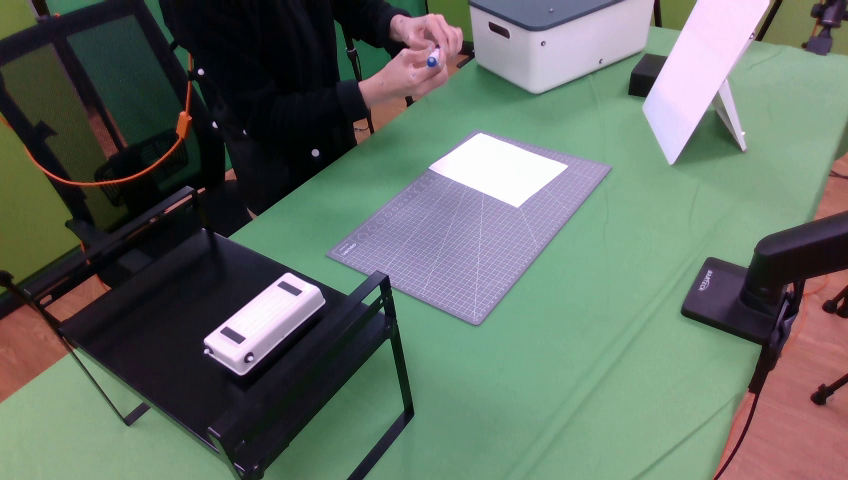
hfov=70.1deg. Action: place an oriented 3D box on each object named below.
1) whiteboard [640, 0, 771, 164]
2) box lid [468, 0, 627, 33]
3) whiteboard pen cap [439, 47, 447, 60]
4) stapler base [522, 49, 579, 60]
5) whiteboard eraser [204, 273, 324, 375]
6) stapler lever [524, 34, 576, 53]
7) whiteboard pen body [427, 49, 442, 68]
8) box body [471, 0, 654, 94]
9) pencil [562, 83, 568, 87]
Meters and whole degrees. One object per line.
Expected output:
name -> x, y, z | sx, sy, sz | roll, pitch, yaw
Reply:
whiteboard -> 0.543, -0.299, 1.076 | 0.144, 0.305, 0.216 | 12, 40, -7
box lid -> 0.312, -0.554, 1.358 | 0.373, 0.015, 0.261 | -26, 44, -20
whiteboard pen cap -> 0.028, -0.313, 1.014 | 0.018, 0.018, 0.033 | 3, 27, 11
stapler base -> 0.300, -0.441, 1.433 | 0.130, 0.024, 0.041 | 3, 22, 18
whiteboard eraser -> -0.157, 0.084, 0.605 | 0.055, 0.042, 0.113 | 24, 49, 30
stapler lever -> 0.297, -0.463, 1.424 | 0.117, 0.040, 0.027 | 5, 22, 17
whiteboard pen body -> 0.018, -0.290, 0.958 | 0.017, 0.017, 0.140 | -2, 23, 7
box body -> 0.319, -0.498, 1.405 | 0.365, 0.161, 0.252 | -26, 43, -21
pencil -> 0.248, -0.393, 1.398 | 0.193, 0.012, 0.012 | 31, 53, 24
